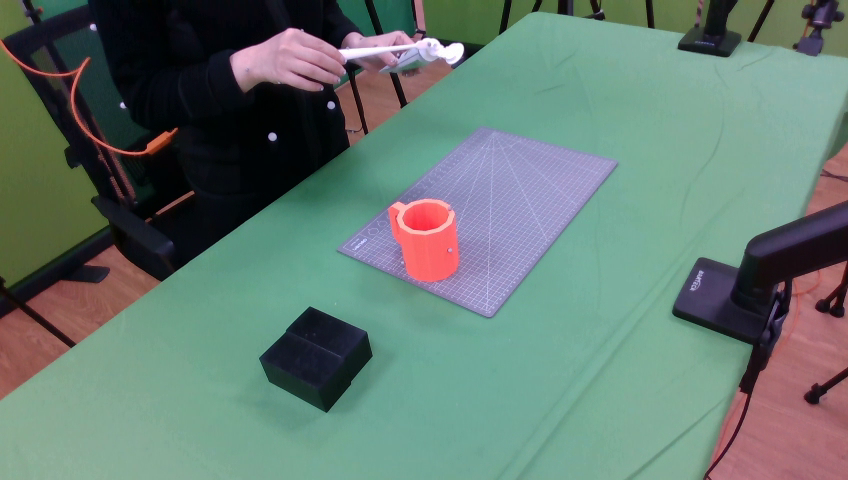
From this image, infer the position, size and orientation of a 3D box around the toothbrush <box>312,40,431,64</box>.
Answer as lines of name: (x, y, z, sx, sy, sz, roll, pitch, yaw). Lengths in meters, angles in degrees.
toothbrush: (-0.075, -0.274, 0.882, 0.183, 0.014, 0.016, -15, 21, -21)

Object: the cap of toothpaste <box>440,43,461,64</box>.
cap of toothpaste: (0.041, -0.288, 0.929, 0.037, 0.011, 0.037, -15, 66, 35)

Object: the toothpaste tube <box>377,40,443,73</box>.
toothpaste tube: (-0.019, -0.296, 0.995, 0.055, 0.034, 0.164, -7, 4, -29)

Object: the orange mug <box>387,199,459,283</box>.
orange mug: (-0.006, -0.007, 0.923, 0.125, 0.101, 0.084, 32, 54, 32)
